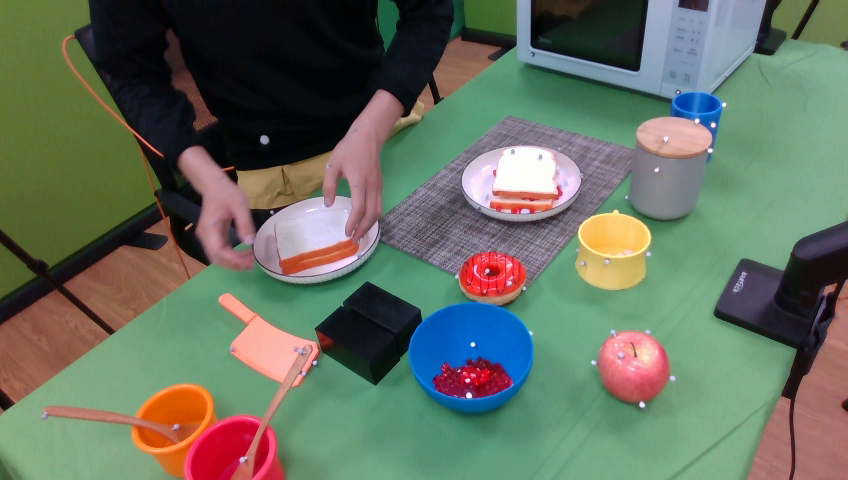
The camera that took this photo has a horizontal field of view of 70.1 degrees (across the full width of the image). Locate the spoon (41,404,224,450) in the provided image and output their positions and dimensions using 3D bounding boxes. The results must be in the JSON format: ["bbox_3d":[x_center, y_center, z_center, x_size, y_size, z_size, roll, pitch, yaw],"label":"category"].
[{"bbox_3d":[-0.321,0.206,0.681,0.021,0.195,0.041,-48,36,22],"label":"spoon"}]

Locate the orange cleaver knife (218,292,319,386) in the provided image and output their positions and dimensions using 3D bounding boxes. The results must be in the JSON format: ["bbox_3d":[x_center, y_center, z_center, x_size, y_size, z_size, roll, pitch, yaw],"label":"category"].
[{"bbox_3d":[-0.234,0.136,0.850,0.209,0.012,0.077,25,57,30],"label":"orange cleaver knife"}]

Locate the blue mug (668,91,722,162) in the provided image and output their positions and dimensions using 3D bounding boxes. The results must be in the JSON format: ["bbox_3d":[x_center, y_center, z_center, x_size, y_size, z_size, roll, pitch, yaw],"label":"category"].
[{"bbox_3d":[0.474,-0.206,1.079,0.082,0.106,0.116,4,42,13],"label":"blue mug"}]

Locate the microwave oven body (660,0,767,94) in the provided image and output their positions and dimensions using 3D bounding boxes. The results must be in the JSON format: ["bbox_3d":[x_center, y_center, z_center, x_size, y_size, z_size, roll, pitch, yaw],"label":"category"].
[{"bbox_3d":[0.474,-0.517,1.313,0.438,0.261,0.327,26,51,34],"label":"microwave oven body"}]

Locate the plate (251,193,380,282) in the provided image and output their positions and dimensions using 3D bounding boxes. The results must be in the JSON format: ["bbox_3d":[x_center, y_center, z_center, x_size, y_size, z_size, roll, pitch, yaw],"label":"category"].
[{"bbox_3d":[-0.173,-0.001,0.985,0.209,0.038,0.208,-4,41,4],"label":"plate"}]

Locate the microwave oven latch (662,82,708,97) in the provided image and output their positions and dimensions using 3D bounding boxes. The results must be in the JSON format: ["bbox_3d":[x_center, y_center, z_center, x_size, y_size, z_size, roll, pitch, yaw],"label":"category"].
[{"bbox_3d":[0.518,-0.298,1.203,0.078,0.029,0.030,28,53,35],"label":"microwave oven latch"}]

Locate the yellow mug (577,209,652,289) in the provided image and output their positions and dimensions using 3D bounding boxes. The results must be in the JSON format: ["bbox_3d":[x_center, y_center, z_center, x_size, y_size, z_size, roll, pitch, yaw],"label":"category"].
[{"bbox_3d":[0.279,0.005,0.893,0.099,0.064,0.130,5,41,15],"label":"yellow mug"}]

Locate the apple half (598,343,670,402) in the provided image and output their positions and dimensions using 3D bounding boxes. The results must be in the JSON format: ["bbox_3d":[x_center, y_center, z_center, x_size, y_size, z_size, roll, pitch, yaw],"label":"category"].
[{"bbox_3d":[0.247,0.161,0.710,0.081,0.075,0.053,2,47,5],"label":"apple half"}]

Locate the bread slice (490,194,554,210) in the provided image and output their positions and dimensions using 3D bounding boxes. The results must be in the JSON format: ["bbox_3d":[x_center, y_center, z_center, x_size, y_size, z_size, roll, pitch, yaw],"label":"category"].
[{"bbox_3d":[0.173,-0.099,1.047,0.104,0.019,0.131,2,43,12],"label":"bread slice"}]

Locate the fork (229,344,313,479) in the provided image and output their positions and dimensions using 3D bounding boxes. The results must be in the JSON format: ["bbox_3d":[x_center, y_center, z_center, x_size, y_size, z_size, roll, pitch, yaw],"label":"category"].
[{"bbox_3d":[-0.173,0.205,0.662,0.028,0.019,0.207,29,94,36],"label":"fork"}]

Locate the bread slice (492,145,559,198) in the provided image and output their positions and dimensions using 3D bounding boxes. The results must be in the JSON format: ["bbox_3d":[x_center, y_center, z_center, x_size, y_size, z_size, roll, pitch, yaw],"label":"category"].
[{"bbox_3d":[0.172,-0.118,1.027,0.107,0.018,0.134,3,43,7],"label":"bread slice"}]

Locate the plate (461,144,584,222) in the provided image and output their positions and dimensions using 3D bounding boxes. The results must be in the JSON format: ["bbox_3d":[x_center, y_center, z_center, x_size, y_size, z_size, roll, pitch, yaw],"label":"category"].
[{"bbox_3d":[0.168,-0.095,1.040,0.207,0.039,0.206,-4,40,4],"label":"plate"}]

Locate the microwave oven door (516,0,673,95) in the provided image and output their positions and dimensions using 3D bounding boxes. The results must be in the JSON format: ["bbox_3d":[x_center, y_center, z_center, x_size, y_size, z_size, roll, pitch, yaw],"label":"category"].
[{"bbox_3d":[0.344,-0.458,1.256,0.353,0.245,0.039,26,51,33],"label":"microwave oven door"}]

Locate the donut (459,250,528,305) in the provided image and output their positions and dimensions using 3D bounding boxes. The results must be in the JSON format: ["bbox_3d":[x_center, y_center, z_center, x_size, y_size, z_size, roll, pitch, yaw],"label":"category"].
[{"bbox_3d":[0.100,0.053,0.872,0.099,0.048,0.098,-5,41,4],"label":"donut"}]

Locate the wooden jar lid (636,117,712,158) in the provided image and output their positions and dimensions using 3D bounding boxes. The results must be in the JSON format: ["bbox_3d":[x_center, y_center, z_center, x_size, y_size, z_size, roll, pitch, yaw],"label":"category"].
[{"bbox_3d":[0.377,-0.151,0.917,0.108,0.021,0.108,-2,42,3],"label":"wooden jar lid"}]

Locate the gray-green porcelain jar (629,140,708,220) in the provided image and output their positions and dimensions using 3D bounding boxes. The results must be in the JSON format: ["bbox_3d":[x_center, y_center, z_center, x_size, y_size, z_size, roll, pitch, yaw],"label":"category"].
[{"bbox_3d":[0.383,-0.104,0.958,0.106,0.127,0.105,-4,41,4],"label":"gray-green porcelain jar"}]

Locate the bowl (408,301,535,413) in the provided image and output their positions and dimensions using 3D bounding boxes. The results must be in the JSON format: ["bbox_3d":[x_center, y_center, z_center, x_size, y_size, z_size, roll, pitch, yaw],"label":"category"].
[{"bbox_3d":[0.060,0.156,0.739,0.151,0.077,0.150,-4,40,4],"label":"bowl"}]

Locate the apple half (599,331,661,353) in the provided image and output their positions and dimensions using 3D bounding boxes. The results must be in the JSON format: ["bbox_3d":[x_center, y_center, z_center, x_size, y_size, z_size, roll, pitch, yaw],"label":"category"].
[{"bbox_3d":[0.249,0.134,0.738,0.081,0.081,0.032,-1,46,7],"label":"apple half"}]
